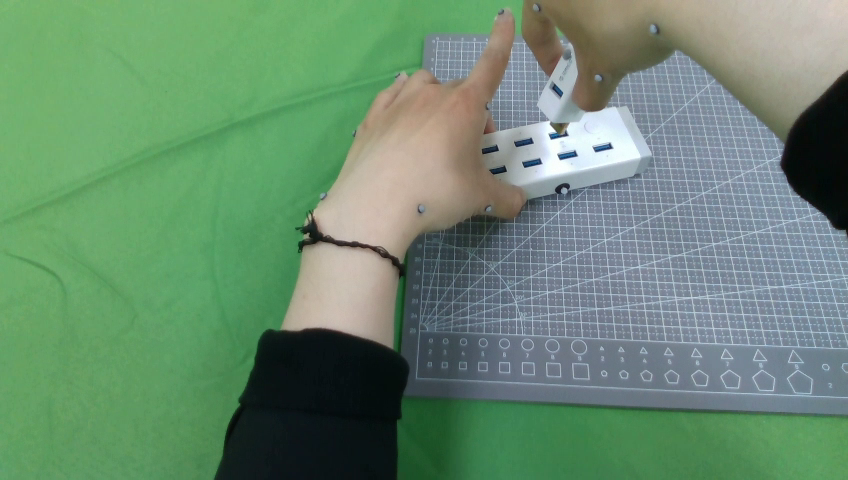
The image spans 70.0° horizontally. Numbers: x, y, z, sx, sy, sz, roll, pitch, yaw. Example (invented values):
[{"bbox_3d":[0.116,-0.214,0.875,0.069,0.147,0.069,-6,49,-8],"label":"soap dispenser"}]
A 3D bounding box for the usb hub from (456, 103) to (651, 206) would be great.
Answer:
[{"bbox_3d":[0.088,-0.061,0.421,0.125,0.025,0.049,-12,63,-6],"label":"usb hub"}]

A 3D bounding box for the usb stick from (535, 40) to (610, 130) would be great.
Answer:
[{"bbox_3d":[0.090,-0.095,0.381,0.027,0.059,0.021,-12,56,-29],"label":"usb stick"}]
